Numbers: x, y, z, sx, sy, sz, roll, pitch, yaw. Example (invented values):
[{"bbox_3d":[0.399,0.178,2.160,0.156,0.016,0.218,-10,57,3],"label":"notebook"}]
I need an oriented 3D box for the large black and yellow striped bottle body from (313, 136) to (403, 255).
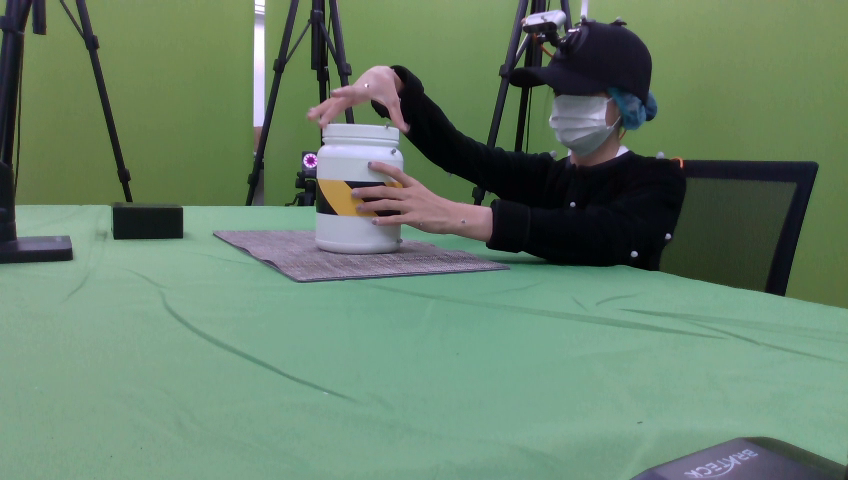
[{"bbox_3d":[-0.098,-0.076,0.913,0.131,0.184,0.130,3,7,0],"label":"large black and yellow striped bottle body"}]

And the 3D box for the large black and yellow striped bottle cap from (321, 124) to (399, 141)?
[{"bbox_3d":[-0.095,-0.159,0.902,0.115,0.019,0.115,4,6,0],"label":"large black and yellow striped bottle cap"}]
